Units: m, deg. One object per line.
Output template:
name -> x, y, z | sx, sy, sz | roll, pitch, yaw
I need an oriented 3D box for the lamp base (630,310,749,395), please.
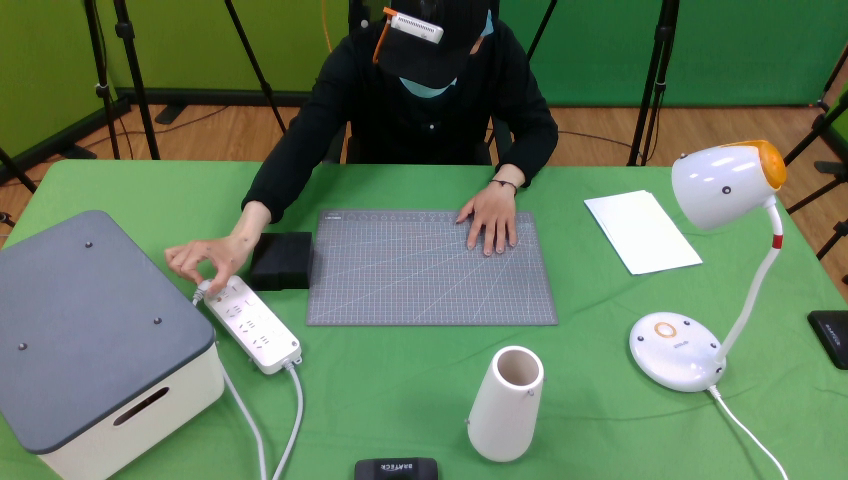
lamp base -> 0.447, 0.143, 0.984 | 0.161, 0.181, 0.178 | -24, 55, -24

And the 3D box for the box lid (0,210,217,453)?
box lid -> -0.502, 0.102, 0.865 | 0.369, 0.015, 0.263 | 36, 54, 27

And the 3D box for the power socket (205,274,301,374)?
power socket -> -0.295, 0.140, 1.035 | 0.072, 0.033, 0.225 | -32, 57, -29

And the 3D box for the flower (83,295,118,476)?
flower -> -0.513, 0.210, 0.960 | 0.044, 0.038, 0.359 | 5, 35, -32

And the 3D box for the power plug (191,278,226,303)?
power plug -> -0.369, 0.094, 1.027 | 0.035, 0.053, 0.072 | 30, 63, 32

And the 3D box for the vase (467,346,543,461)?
vase -> 0.116, 0.235, 0.861 | 0.098, 0.201, 0.097 | 1, 47, -1

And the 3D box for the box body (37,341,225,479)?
box body -> -0.504, 0.154, 0.917 | 0.362, 0.161, 0.254 | 36, 54, 27

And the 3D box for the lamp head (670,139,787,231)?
lamp head -> 0.415, -0.078, 0.811 | 0.113, 0.123, 0.112 | 12, 70, -37
